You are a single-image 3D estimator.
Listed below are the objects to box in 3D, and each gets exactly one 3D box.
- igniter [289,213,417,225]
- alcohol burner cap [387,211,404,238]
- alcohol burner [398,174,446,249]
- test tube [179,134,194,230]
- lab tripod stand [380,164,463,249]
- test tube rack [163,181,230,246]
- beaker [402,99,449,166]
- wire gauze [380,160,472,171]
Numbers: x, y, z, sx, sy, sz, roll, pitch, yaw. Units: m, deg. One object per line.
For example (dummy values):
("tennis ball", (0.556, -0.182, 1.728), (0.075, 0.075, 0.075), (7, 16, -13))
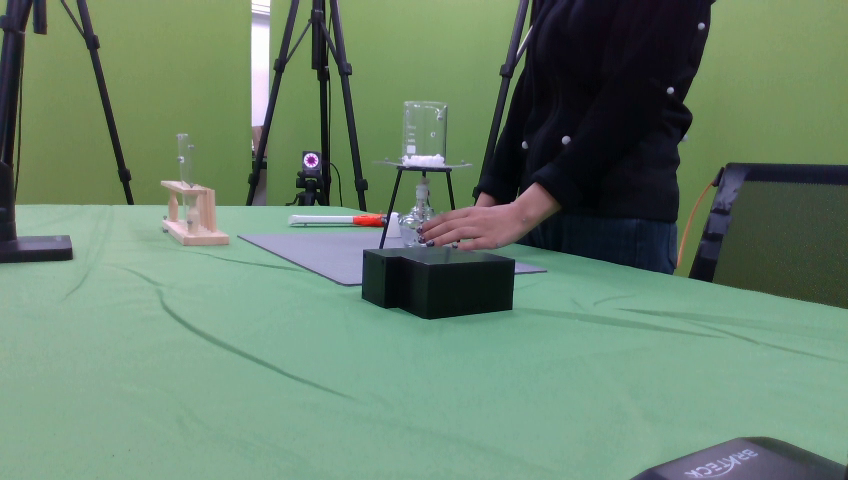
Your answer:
("igniter", (-0.144, -0.044, 1.275), (0.278, 0.025, 0.057), (-1, -2, -27))
("alcohol burner cap", (-0.053, -0.029, 1.107), (0.034, 0.048, 0.034), (2, 9, 0))
("alcohol burner", (-0.003, -0.046, 0.973), (0.078, 0.119, 0.078), (0, 7, 0))
("test tube", (-0.366, -0.089, 0.938), (0.017, 0.150, 0.017), (-1, 9, 1))
("lab tripod stand", (-0.004, -0.055, 0.967), (0.148, 0.131, 0.148), (2, 9, 0))
("test tube rack", (-0.387, -0.050, 1.015), (0.067, 0.085, 0.241), (-2, 9, -30))
("beaker", (0.003, -0.168, 0.957), (0.073, 0.100, 0.084), (9, 10, 35))
("wire gauze", (-0.004, -0.120, 0.959), (0.122, 0.011, 0.124), (-5, 13, -33))
